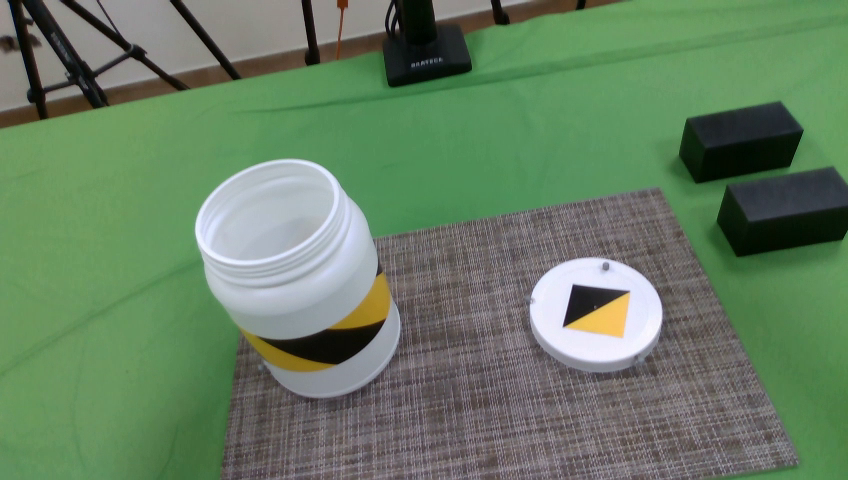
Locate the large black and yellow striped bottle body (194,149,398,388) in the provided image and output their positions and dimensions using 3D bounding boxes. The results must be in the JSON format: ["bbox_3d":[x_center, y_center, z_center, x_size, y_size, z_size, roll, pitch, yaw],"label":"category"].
[{"bbox_3d":[-0.101,0.027,0.509,0.130,0.186,0.129,-6,50,7],"label":"large black and yellow striped bottle body"}]

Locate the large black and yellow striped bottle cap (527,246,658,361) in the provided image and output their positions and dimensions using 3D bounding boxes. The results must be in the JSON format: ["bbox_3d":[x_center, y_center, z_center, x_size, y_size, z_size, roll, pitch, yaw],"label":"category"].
[{"bbox_3d":[0.151,0.054,0.548,0.115,0.019,0.114,-5,51,7],"label":"large black and yellow striped bottle cap"}]
